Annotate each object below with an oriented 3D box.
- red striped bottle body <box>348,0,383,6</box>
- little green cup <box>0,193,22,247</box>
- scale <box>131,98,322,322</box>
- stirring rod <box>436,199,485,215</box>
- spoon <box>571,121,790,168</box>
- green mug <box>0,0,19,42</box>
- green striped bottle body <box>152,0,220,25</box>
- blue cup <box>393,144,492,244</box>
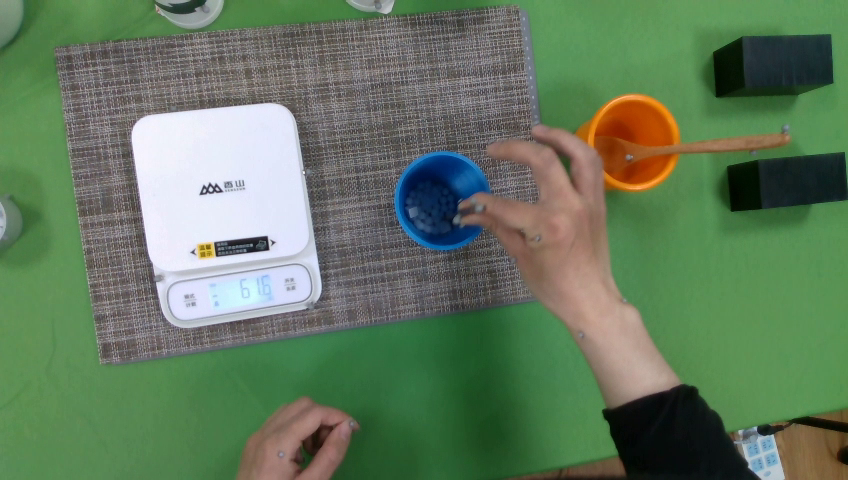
[{"bbox_3d":[-0.052,-0.262,0.545,0.063,0.119,0.063,0,91,-8],"label":"red striped bottle body"},{"bbox_3d":[-0.398,-0.019,0.545,0.062,0.038,0.061,0,91,-9],"label":"little green cup"},{"bbox_3d":[-0.184,-0.028,0.573,0.149,0.031,0.201,-9,93,-7],"label":"scale"},{"bbox_3d":[0.028,-0.027,0.516,0.014,0.176,0.006,-17,93,-6],"label":"stirring rod"},{"bbox_3d":[0.233,-0.094,0.572,0.022,0.192,0.041,-12,100,-51],"label":"spoon"},{"bbox_3d":[-0.417,-0.199,0.505,0.093,0.105,0.125,27,88,-7],"label":"green mug"},{"bbox_3d":[-0.219,-0.236,0.523,0.063,0.119,0.063,0,91,-7],"label":"green striped bottle body"},{"bbox_3d":[0.011,-0.041,0.564,0.093,0.100,0.092,0,92,-6],"label":"blue cup"}]
